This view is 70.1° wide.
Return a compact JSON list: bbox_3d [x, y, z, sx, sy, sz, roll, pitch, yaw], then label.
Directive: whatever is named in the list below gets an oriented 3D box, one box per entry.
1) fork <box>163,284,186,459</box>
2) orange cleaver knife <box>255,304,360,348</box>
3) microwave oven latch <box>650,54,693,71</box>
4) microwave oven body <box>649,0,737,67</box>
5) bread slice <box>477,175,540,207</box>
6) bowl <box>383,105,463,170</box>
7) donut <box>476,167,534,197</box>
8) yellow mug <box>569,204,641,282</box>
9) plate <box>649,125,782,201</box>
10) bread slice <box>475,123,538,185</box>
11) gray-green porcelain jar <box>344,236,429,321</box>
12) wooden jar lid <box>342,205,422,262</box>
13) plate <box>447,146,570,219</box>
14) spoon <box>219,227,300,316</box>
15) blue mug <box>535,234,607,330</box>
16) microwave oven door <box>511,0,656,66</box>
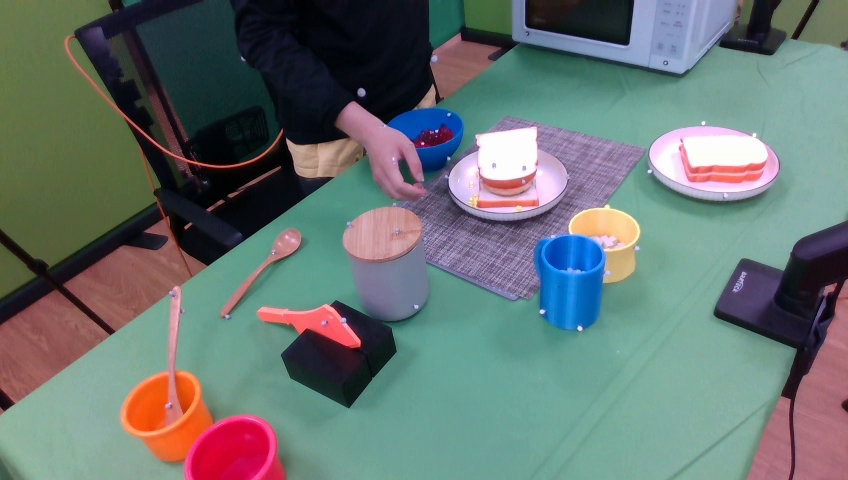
[{"bbox_3d":[-0.302,0.157,0.733,0.028,0.019,0.207,-3,84,15],"label":"fork"},{"bbox_3d":[-0.161,0.115,0.813,0.210,0.077,0.012,-5,32,46],"label":"orange cleaver knife"},{"bbox_3d":[0.531,-0.386,1.301,0.078,0.029,0.030,26,51,33],"label":"microwave oven latch"},{"bbox_3d":[0.475,-0.602,1.411,0.438,0.261,0.327,23,50,32],"label":"microwave oven body"},{"bbox_3d":[0.145,-0.105,1.057,0.105,0.019,0.131,-2,42,6],"label":"bread slice"},{"bbox_3d":[0.002,-0.185,1.143,0.151,0.077,0.150,-4,41,4],"label":"bowl"},{"bbox_3d":[0.138,-0.116,1.025,0.099,0.048,0.098,-8,55,12],"label":"donut"},{"bbox_3d":[0.268,-0.005,0.904,0.099,0.064,0.130,7,41,15],"label":"yellow mug"},{"bbox_3d":[0.493,-0.128,1.036,0.207,0.039,0.206,-4,41,4],"label":"plate"},{"bbox_3d":[0.142,-0.144,1.008,0.107,0.018,0.133,-8,47,9],"label":"bread slice"},{"bbox_3d":[-0.049,0.042,0.849,0.106,0.127,0.105,-4,41,4],"label":"gray-green porcelain jar"},{"bbox_3d":[-0.055,-0.006,0.808,0.108,0.021,0.108,-6,41,6],"label":"wooden jar lid"},{"bbox_3d":[0.145,-0.098,1.046,0.209,0.038,0.208,-4,40,4],"label":"plate"},{"bbox_3d":[-0.261,0.046,0.954,0.041,0.021,0.194,26,48,11],"label":"spoon"},{"bbox_3d":[0.190,0.048,0.824,0.082,0.106,0.115,-26,44,-21],"label":"blue mug"},{"bbox_3d":[0.351,-0.539,1.349,0.353,0.245,0.039,24,50,31],"label":"microwave oven door"}]
